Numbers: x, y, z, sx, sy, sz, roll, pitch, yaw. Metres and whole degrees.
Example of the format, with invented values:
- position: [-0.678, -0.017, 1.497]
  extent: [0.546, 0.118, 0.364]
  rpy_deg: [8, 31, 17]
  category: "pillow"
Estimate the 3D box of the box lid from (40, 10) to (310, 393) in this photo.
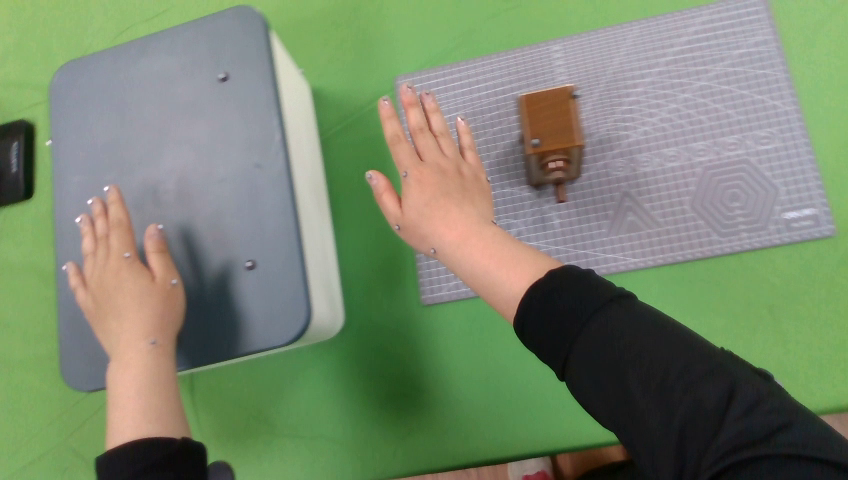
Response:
- position: [-0.267, -0.050, 0.624]
  extent: [0.263, 0.015, 0.369]
  rpy_deg: [-15, 76, 7]
  category: "box lid"

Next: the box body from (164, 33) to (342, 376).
- position: [-0.255, -0.037, 0.702]
  extent: [0.254, 0.161, 0.362]
  rpy_deg: [-15, 75, 8]
  category: "box body"

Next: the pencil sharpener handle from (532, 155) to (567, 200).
- position: [0.139, -0.065, 0.640]
  extent: [0.036, 0.068, 0.030]
  rpy_deg: [-14, 74, 22]
  category: "pencil sharpener handle"

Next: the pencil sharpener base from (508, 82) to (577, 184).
- position: [0.131, -0.110, 0.664]
  extent: [0.061, 0.108, 0.076]
  rpy_deg: [-10, 76, 9]
  category: "pencil sharpener base"
